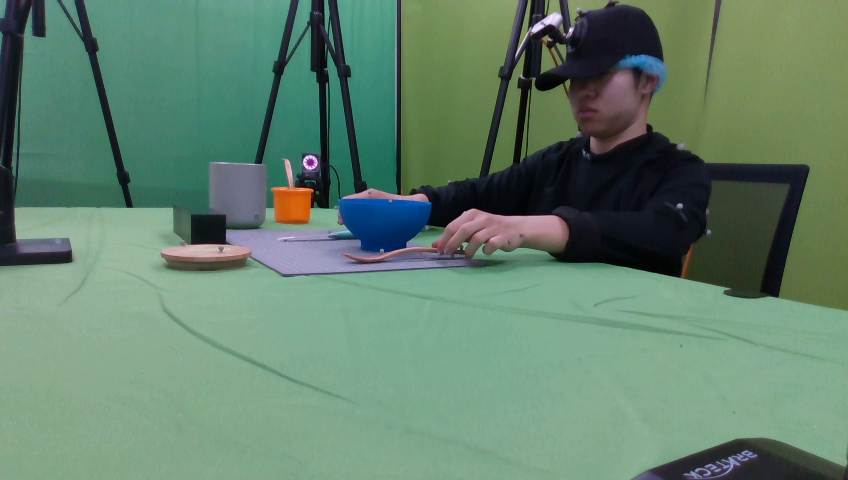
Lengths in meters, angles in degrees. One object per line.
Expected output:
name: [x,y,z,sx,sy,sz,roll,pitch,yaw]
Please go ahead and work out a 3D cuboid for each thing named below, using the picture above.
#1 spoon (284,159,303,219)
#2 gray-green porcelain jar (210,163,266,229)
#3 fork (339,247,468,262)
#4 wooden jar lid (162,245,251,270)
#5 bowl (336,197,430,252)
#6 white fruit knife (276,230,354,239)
spoon: [-0.302,-0.118,1.370,0.042,0.193,0.021,4,-39,-24]
gray-green porcelain jar: [-0.367,-0.088,1.195,0.106,0.126,0.106,3,8,0]
fork: [-0.023,0.020,0.863,0.208,0.018,0.028,-4,3,-31]
wooden jar lid: [-0.278,0.022,0.777,0.108,0.020,0.108,2,6,0]
bowl: [-0.066,-0.024,0.967,0.151,0.077,0.151,3,7,0]
white fruit knife: [-0.159,-0.009,1.058,0.208,0.016,0.027,-3,-6,-33]
